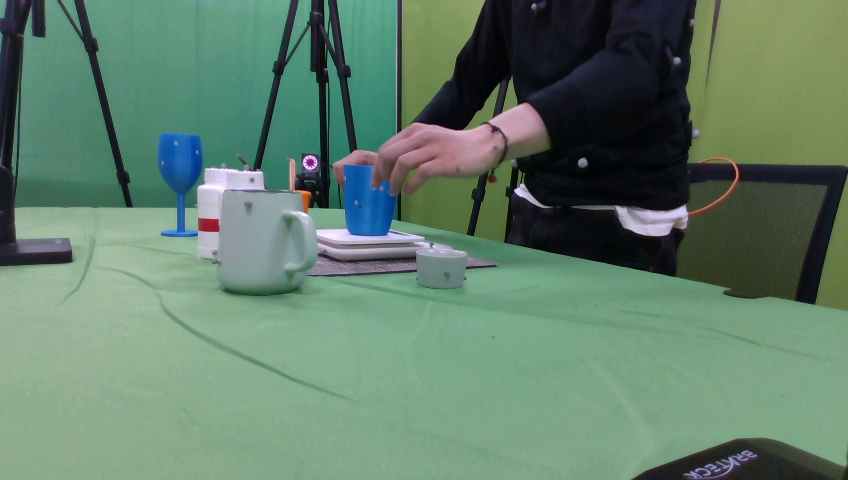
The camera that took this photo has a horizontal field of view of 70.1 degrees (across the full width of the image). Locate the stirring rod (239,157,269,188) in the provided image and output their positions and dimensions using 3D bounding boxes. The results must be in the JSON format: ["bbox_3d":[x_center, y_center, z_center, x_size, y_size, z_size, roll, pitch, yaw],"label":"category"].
[{"bbox_3d":[-0.309,-0.098,1.209,0.006,0.177,0.014,-39,29,-4],"label":"stirring rod"}]

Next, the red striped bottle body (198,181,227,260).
[{"bbox_3d":[-0.275,-0.036,0.827,0.063,0.119,0.063,1,7,0],"label":"red striped bottle body"}]

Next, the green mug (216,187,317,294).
[{"bbox_3d":[-0.157,0.000,0.629,0.124,0.105,0.093,7,9,37],"label":"green mug"}]

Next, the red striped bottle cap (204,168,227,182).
[{"bbox_3d":[-0.275,-0.088,0.821,0.044,0.017,0.044,4,6,0],"label":"red striped bottle cap"}]

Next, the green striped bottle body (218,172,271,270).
[{"bbox_3d":[-0.223,-0.025,0.755,0.063,0.119,0.063,1,7,0],"label":"green striped bottle body"}]

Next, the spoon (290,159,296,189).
[{"bbox_3d":[-0.273,-0.102,1.252,0.042,0.193,0.021,7,-39,-18],"label":"spoon"}]

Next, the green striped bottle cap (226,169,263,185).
[{"bbox_3d":[-0.222,-0.077,0.748,0.044,0.020,0.044,2,7,0],"label":"green striped bottle cap"}]

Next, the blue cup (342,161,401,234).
[{"bbox_3d":[-0.079,-0.062,0.883,0.093,0.100,0.092,4,6,0],"label":"blue cup"}]

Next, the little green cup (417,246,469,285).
[{"bbox_3d":[0.021,0.029,0.701,0.061,0.038,0.061,1,6,0],"label":"little green cup"}]

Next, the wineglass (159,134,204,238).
[{"bbox_3d":[-0.415,-0.093,1.039,0.074,0.172,0.073,2,8,0],"label":"wineglass"}]

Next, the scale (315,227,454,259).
[{"bbox_3d":[-0.066,0.001,0.906,0.202,0.031,0.148,-2,8,-31],"label":"scale"}]
